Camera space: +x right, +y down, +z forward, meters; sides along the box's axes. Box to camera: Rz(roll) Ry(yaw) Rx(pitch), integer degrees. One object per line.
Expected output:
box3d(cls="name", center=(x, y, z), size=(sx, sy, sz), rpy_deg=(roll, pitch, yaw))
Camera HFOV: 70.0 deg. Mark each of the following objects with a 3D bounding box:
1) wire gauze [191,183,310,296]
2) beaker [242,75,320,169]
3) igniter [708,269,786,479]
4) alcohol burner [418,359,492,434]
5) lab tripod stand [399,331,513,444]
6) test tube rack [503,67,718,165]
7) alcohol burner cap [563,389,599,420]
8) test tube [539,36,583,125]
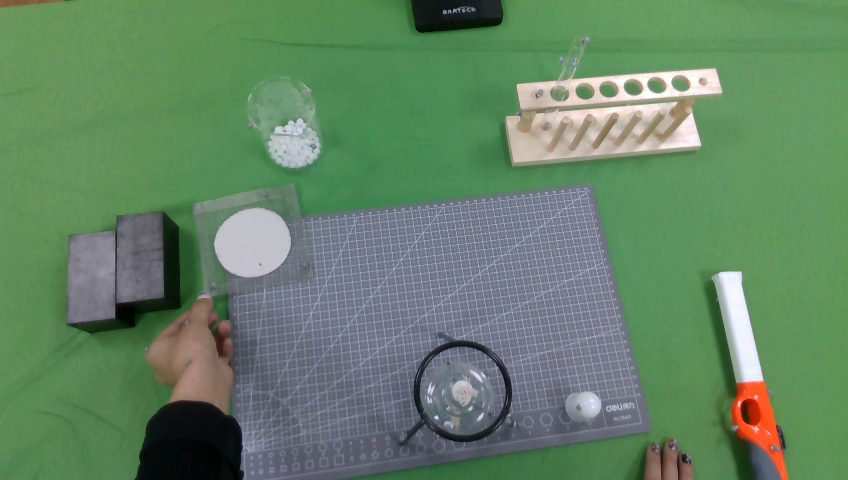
box3d(cls="wire gauze", center=(-0.205, -0.002, 0.710), size=(0.125, 0.011, 0.120), rpy_deg=(-12, 72, -6))
box3d(cls="beaker", center=(-0.160, -0.131, 0.710), size=(0.074, 0.101, 0.083), rpy_deg=(-37, 78, -13))
box3d(cls="igniter", center=(0.363, 0.167, 0.680), size=(0.057, 0.025, 0.274), rpy_deg=(0, 72, -13))
box3d(cls="alcohol burner", center=(0.034, 0.158, 0.617), size=(0.078, 0.120, 0.077), rpy_deg=(1, 70, -3))
box3d(cls="lab tripod stand", center=(0.029, 0.152, 0.608), size=(0.148, 0.132, 0.147), rpy_deg=(0, 71, -1))
box3d(cls="test tube rack", center=(0.226, -0.151, 0.744), size=(0.242, 0.085, 0.066), rpy_deg=(-6, 72, -5))
box3d(cls="alcohol burner cap", center=(0.172, 0.177, 0.656), size=(0.034, 0.048, 0.033), rpy_deg=(0, 71, -1))
box3d(cls="test tube", center=(0.155, -0.178, 0.697), size=(0.017, 0.151, 0.017), rpy_deg=(1, 68, -2))
